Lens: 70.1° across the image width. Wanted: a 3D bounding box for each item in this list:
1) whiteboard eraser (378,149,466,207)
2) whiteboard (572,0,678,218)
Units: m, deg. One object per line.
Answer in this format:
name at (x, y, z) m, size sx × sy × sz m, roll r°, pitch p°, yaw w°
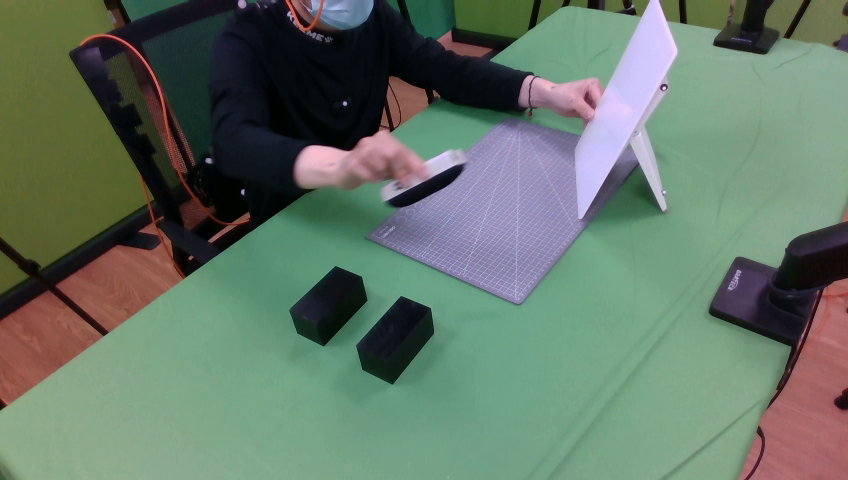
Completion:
whiteboard eraser at (-0.001, -0.079, 0.796) m, size 0.112 × 0.042 × 0.056 m, roll -26°, pitch -3°, yaw 22°
whiteboard at (0.367, -0.188, 0.965) m, size 0.144 × 0.305 × 0.216 m, roll 17°, pitch 42°, yaw -3°
